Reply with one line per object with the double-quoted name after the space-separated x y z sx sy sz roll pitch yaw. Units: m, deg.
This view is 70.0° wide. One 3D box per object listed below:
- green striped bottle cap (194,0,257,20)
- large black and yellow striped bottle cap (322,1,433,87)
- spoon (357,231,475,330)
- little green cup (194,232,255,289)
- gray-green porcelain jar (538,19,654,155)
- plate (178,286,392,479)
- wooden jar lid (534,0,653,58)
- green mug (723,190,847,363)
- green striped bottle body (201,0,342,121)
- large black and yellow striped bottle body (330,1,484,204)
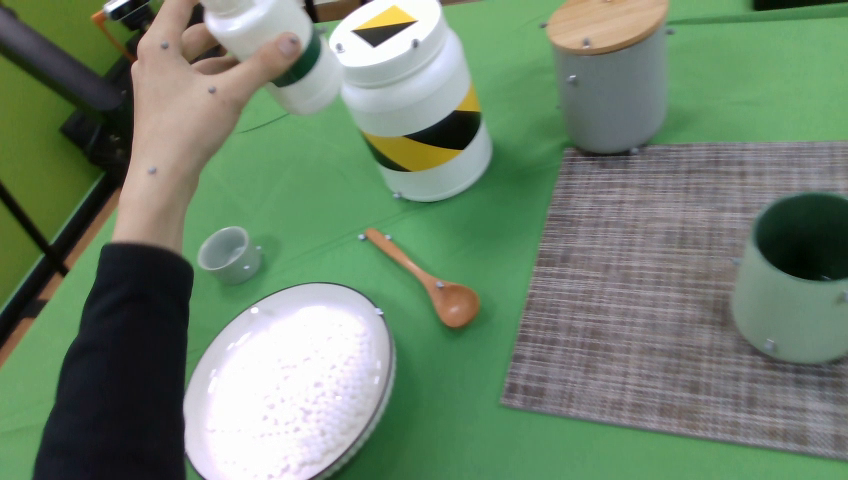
-0.129 -0.166 0.395 0.044 0.020 0.044 -6 68 16 "green striped bottle cap"
-0.047 -0.191 0.582 0.115 0.019 0.114 -11 48 13 "large black and yellow striped bottle cap"
-0.015 0.032 0.609 0.191 0.022 0.041 37 91 39 "spoon"
-0.226 0.025 0.692 0.061 0.039 0.061 -12 48 14 "little green cup"
0.177 -0.158 0.612 0.105 0.128 0.105 -11 46 12 "gray-green porcelain jar"
-0.124 0.137 0.558 0.209 0.038 0.207 -11 49 14 "plate"
0.158 -0.200 0.568 0.108 0.021 0.107 -14 46 15 "wooden jar lid"
0.280 0.031 0.424 0.124 0.106 0.092 11 57 30 "green mug"
-0.113 -0.144 0.440 0.063 0.120 0.062 -8 65 18 "green striped bottle body"
-0.019 -0.141 0.643 0.130 0.186 0.129 -12 49 14 "large black and yellow striped bottle body"
